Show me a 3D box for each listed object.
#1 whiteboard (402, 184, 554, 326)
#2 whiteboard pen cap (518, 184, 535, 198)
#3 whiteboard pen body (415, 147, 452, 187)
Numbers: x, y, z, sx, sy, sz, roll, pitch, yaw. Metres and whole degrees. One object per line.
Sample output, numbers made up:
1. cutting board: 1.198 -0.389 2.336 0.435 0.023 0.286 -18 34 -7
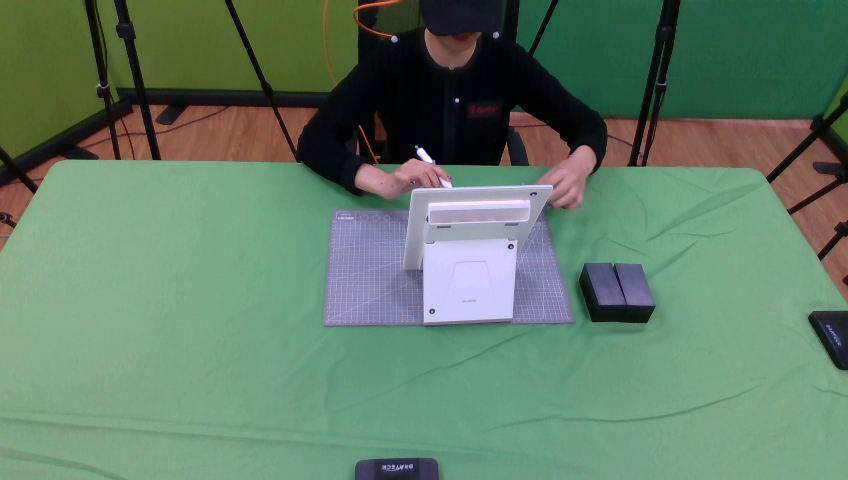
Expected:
1. whiteboard: 0.081 0.044 1.005 0.217 0.306 0.143 -1 66 -6
2. whiteboard pen cap: 0.204 -0.099 1.212 0.033 0.018 0.018 25 46 -8
3. whiteboard pen body: 0.023 -0.137 1.199 0.017 0.017 0.140 -23 58 -23
